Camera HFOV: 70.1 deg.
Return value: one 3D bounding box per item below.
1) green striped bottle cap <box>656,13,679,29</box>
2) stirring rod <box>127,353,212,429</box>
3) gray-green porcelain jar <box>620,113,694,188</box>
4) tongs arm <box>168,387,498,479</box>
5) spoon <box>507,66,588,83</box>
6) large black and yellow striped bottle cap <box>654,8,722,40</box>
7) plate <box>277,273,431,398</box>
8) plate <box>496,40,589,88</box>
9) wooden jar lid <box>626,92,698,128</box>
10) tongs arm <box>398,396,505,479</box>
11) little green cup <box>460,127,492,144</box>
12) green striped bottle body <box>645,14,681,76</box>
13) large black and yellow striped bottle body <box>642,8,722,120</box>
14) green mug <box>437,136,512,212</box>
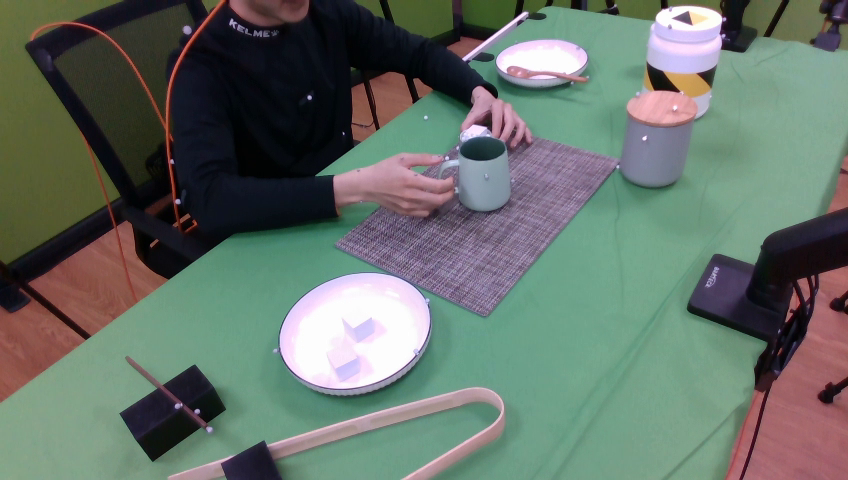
[{"bbox_3d":[0.515,-0.463,1.278,0.044,0.020,0.044,-6,42,6],"label":"green striped bottle cap"},{"bbox_3d":[-0.311,0.180,0.731,0.175,0.014,0.006,25,53,31],"label":"stirring rod"},{"bbox_3d":[0.390,-0.161,1.020,0.106,0.127,0.105,-4,41,4],"label":"gray-green porcelain jar"},{"bbox_3d":[-0.100,0.230,0.711,0.388,0.028,0.028,-13,32,-7],"label":"tongs arm"},{"bbox_3d":[0.265,-0.357,1.311,0.192,0.022,0.042,18,47,38],"label":"spoon"},{"bbox_3d":[0.483,-0.397,1.108,0.115,0.019,0.114,-3,41,3],"label":"large black and yellow striped bottle cap"},{"bbox_3d":[-0.091,0.129,0.821,0.207,0.039,0.206,-4,40,4],"label":"plate"},{"bbox_3d":[0.269,-0.398,1.381,0.209,0.038,0.208,-4,41,4],"label":"plate"},{"bbox_3d":[0.384,-0.207,0.980,0.108,0.021,0.108,-6,39,5],"label":"wooden jar lid"},{"bbox_3d":[-0.071,0.272,0.652,0.386,0.026,0.050,-21,37,-17],"label":"tongs arm"},{"bbox_3d":[0.099,-0.183,1.148,0.061,0.039,0.061,-2,43,3],"label":"little green cup"},{"bbox_3d":[0.520,-0.424,1.312,0.063,0.120,0.063,-4,41,4],"label":"green striped bottle body"},{"bbox_3d":[0.493,-0.334,1.161,0.131,0.185,0.130,-4,41,4],"label":"large black and yellow striped bottle body"},{"bbox_3d":[0.084,-0.107,1.013,0.125,0.105,0.092,-9,40,-2],"label":"green mug"}]
